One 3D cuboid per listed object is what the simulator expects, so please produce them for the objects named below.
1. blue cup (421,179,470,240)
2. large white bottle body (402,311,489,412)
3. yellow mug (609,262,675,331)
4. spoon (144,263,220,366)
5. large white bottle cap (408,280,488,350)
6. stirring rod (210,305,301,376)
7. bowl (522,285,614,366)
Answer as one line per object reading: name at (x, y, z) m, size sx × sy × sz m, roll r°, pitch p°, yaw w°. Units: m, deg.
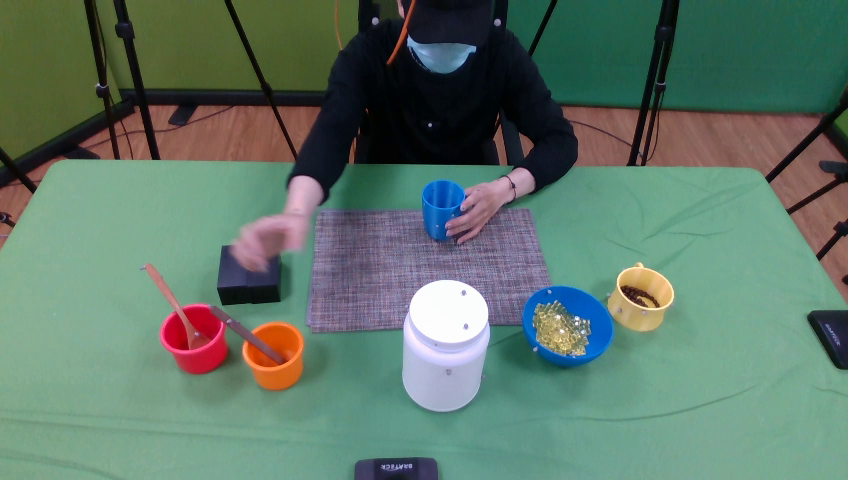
blue cup at (0.034, -0.054, 1.191) m, size 0.093 × 0.101 × 0.092 m, roll 2°, pitch 48°, yaw -3°
large white bottle body at (0.031, 0.163, 0.928) m, size 0.131 × 0.185 × 0.130 m, roll 2°, pitch 46°, yaw -1°
yellow mug at (0.393, 0.094, 1.103) m, size 0.100 × 0.064 × 0.130 m, roll 7°, pitch 45°, yaw 4°
spoon at (-0.389, 0.118, 0.971) m, size 0.041 × 0.021 × 0.194 m, roll -34°, pitch 101°, yaw -36°
large white bottle cap at (0.034, 0.105, 0.866) m, size 0.115 × 0.018 × 0.114 m, roll 2°, pitch 46°, yaw -1°
stirring rod at (-0.261, 0.158, 0.945) m, size 0.177 × 0.006 × 0.014 m, roll 43°, pitch 43°, yaw -20°
bowl at (0.235, 0.158, 1.022) m, size 0.151 × 0.077 × 0.150 m, roll 2°, pitch 46°, yaw -2°
